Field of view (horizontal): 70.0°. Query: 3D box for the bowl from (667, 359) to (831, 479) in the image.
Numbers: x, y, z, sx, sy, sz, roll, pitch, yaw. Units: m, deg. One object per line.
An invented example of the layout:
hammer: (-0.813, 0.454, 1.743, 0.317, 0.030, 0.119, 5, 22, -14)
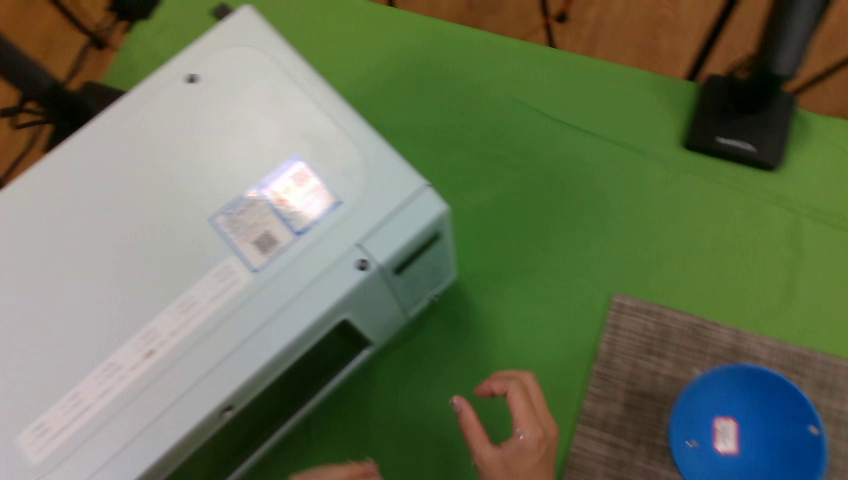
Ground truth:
bowl: (0.322, 0.204, 0.631, 0.151, 0.077, 0.150, -1, 72, 5)

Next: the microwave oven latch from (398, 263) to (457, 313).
microwave oven latch: (0.003, 0.049, 0.713, 0.079, 0.030, 0.030, -41, 74, -7)

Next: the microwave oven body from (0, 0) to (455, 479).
microwave oven body: (-0.236, 0.038, 0.635, 0.441, 0.262, 0.324, -43, 74, -8)

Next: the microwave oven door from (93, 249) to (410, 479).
microwave oven door: (-0.167, 0.163, 0.585, 0.355, 0.245, 0.039, -43, 73, -9)
